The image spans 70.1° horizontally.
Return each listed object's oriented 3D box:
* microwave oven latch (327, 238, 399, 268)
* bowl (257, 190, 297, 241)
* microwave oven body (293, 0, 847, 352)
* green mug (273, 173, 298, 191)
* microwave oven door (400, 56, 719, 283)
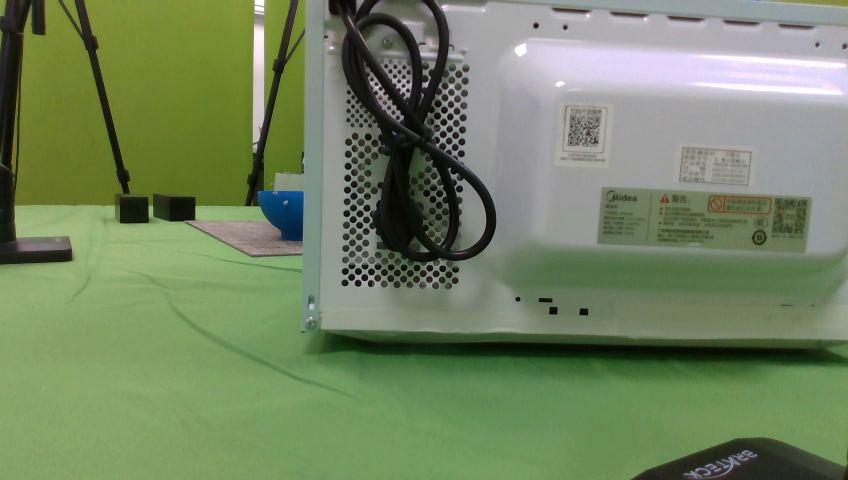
[{"bbox_3d":[-0.069,0.015,0.694,0.079,0.029,0.030,3,7,-3],"label":"microwave oven latch"},{"bbox_3d":[-0.206,-0.041,1.027,0.151,0.077,0.151,3,8,0],"label":"bowl"},{"bbox_3d":[0.122,-0.055,0.550,0.442,0.260,0.325,3,7,-5],"label":"microwave oven body"},{"bbox_3d":[-0.264,-0.084,1.236,0.093,0.105,0.125,0,8,-13],"label":"green mug"},{"bbox_3d":[0.155,-0.078,0.698,0.356,0.243,0.039,2,8,-5],"label":"microwave oven door"}]
